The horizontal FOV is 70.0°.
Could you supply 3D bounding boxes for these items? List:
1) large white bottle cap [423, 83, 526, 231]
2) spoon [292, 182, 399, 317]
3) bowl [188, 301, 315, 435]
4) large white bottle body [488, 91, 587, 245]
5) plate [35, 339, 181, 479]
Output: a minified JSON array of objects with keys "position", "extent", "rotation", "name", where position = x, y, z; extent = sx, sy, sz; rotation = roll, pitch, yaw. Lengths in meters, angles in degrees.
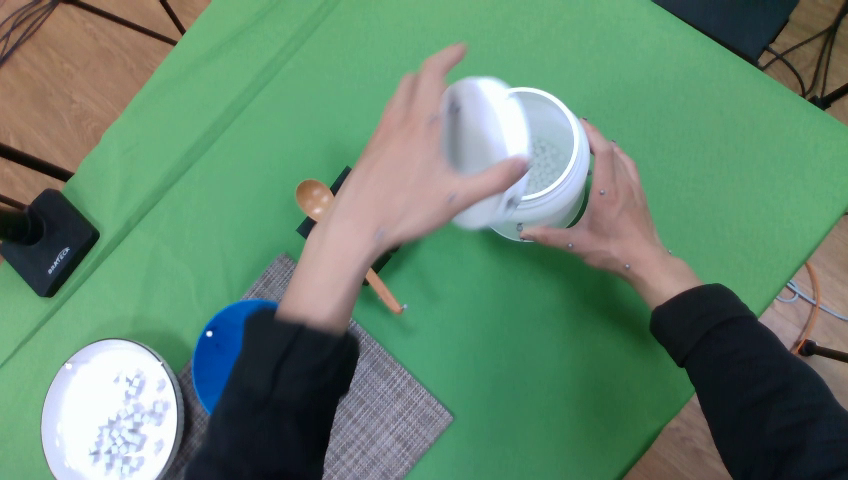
[{"position":[0.036,-0.063,0.472],"extent":[0.018,0.115,0.114],"rotation":[-9,77,-31],"name":"large white bottle cap"},{"position":[-0.090,0.012,0.706],"extent":[0.041,0.022,0.193],"rotation":[-36,81,-1],"name":"spoon"},{"position":[-0.191,0.149,0.721],"extent":[0.151,0.077,0.151],"rotation":[-2,81,12],"name":"bowl"},{"position":[0.103,-0.071,0.638],"extent":[0.130,0.185,0.130],"rotation":[-2,81,12],"name":"large white bottle body"},{"position":[-0.397,0.232,0.775],"extent":[0.208,0.038,0.208],"rotation":[-3,79,14],"name":"plate"}]
